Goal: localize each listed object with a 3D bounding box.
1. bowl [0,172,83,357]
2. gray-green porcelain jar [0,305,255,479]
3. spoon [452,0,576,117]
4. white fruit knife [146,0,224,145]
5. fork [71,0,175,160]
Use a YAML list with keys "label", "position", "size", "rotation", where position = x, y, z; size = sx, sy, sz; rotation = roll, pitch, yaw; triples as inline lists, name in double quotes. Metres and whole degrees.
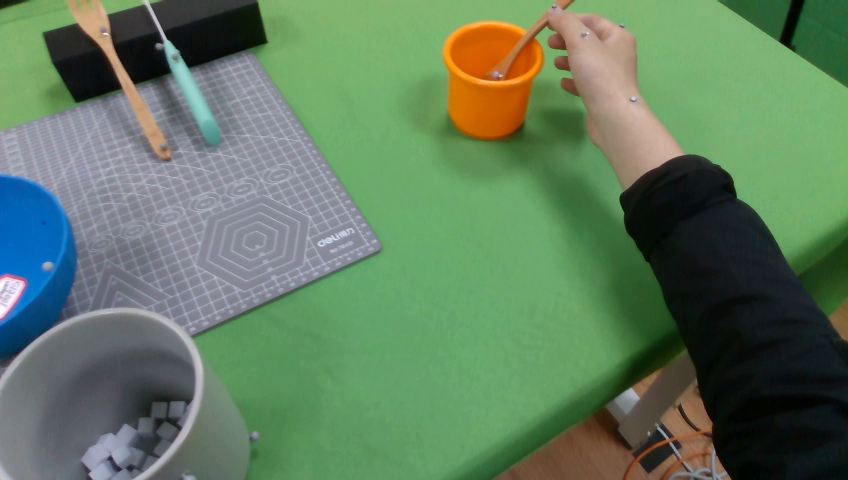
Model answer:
- label: "bowl"
  position: [-0.313, 0.032, 0.433]
  size: [0.151, 0.077, 0.150]
  rotation: [1, 55, 0]
- label: "gray-green porcelain jar"
  position: [-0.161, 0.114, 0.353]
  size: [0.106, 0.127, 0.105]
  rotation: [0, 54, 0]
- label: "spoon"
  position: [0.098, -0.184, 0.557]
  size: [0.022, 0.194, 0.041]
  rotation: [18, 36, -47]
- label: "white fruit knife"
  position: [-0.240, -0.180, 0.586]
  size: [0.016, 0.027, 0.206]
  rotation: [-25, 73, -20]
- label: "fork"
  position: [-0.284, -0.162, 0.571]
  size: [0.028, 0.019, 0.206]
  rotation: [-27, 78, -24]
